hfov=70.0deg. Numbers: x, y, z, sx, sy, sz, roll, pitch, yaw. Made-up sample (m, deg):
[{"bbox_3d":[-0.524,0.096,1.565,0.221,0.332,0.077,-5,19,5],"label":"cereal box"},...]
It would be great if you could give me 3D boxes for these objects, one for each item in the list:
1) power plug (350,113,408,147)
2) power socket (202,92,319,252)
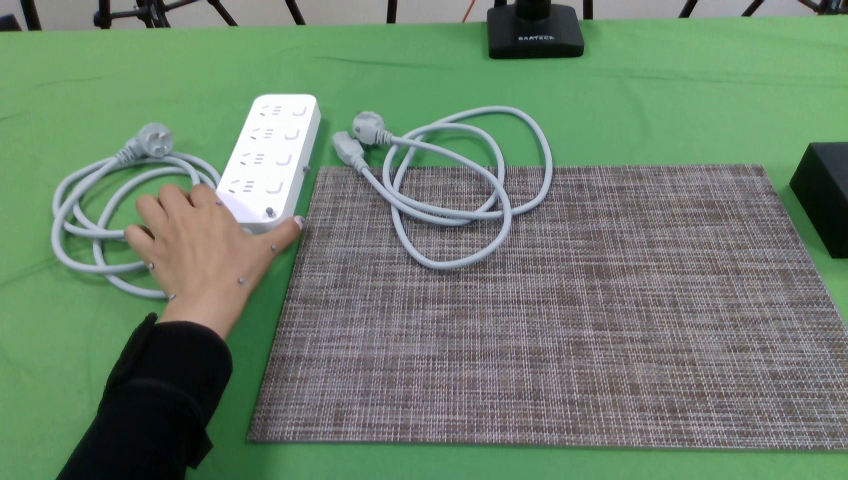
[{"bbox_3d":[-0.047,-0.110,0.651,0.072,0.035,0.052,29,28,7],"label":"power plug"},{"bbox_3d":[-0.161,-0.082,0.620,0.072,0.033,0.224,6,47,-1],"label":"power socket"}]
